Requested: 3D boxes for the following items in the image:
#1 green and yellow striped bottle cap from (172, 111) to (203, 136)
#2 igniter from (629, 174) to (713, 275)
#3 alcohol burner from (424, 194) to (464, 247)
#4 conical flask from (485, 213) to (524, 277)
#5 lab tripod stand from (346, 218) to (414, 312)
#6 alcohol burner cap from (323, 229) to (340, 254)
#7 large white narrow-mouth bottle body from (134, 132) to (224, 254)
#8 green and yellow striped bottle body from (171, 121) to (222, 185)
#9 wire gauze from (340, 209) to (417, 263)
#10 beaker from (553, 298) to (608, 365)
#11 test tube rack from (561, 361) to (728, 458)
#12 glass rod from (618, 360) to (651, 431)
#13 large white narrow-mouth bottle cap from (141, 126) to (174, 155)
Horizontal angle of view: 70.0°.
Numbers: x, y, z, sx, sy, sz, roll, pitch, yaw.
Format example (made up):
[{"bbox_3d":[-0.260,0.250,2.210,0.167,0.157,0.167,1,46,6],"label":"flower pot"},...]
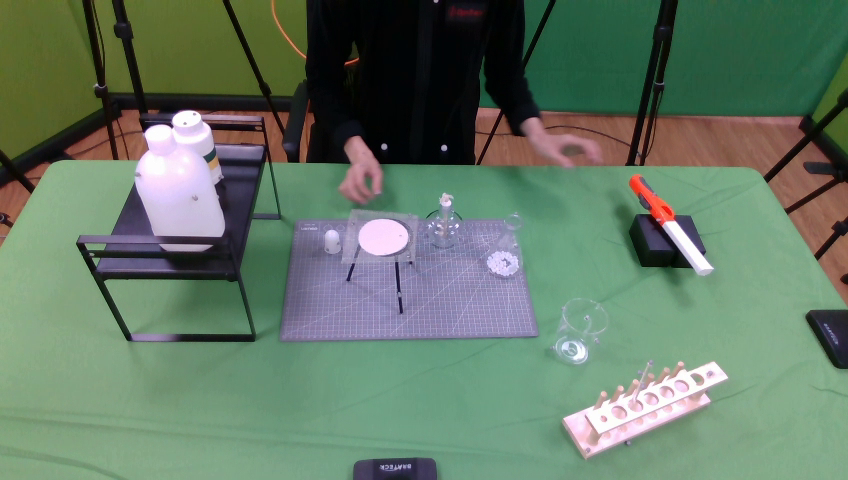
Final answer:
[{"bbox_3d":[-0.374,-0.185,0.958,0.045,0.020,0.045,4,46,-4],"label":"green and yellow striped bottle cap"},{"bbox_3d":[0.482,-0.040,1.202,0.057,0.025,0.274,-2,46,-21],"label":"igniter"},{"bbox_3d":[0.039,-0.043,1.175,0.078,0.120,0.077,1,48,-1],"label":"alcohol burner"},{"bbox_3d":[0.157,0.007,1.129,0.075,0.122,0.075,2,46,-2],"label":"conical flask"},{"bbox_3d":[-0.070,0.037,1.075,0.148,0.132,0.147,1,48,-1],"label":"lab tripod stand"},{"bbox_3d":[-0.179,0.001,1.165,0.034,0.048,0.033,3,45,-2],"label":"alcohol burner cap"},{"bbox_3d":[-0.358,-0.075,0.875,0.102,0.195,0.101,1,48,-1],"label":"large white narrow-mouth bottle body"},{"bbox_3d":[-0.375,-0.149,0.995,0.063,0.120,0.063,2,46,-2],"label":"green and yellow striped bottle body"},{"bbox_3d":[-0.074,-0.007,1.023,0.121,0.011,0.124,3,46,0],"label":"wire gauze"},{"bbox_3d":[0.260,0.154,1.015,0.073,0.101,0.084,37,54,27],"label":"beaker"},{"bbox_3d":[0.341,0.248,0.940,0.243,0.085,0.066,-15,49,-18],"label":"test tube rack"},{"bbox_3d":[0.298,0.227,0.865,0.008,0.201,0.008,-1,48,2],"label":"glass rod"},{"bbox_3d":[-0.356,-0.134,0.811,0.038,0.024,0.037,2,48,-1],"label":"large white narrow-mouth bottle cap"}]
